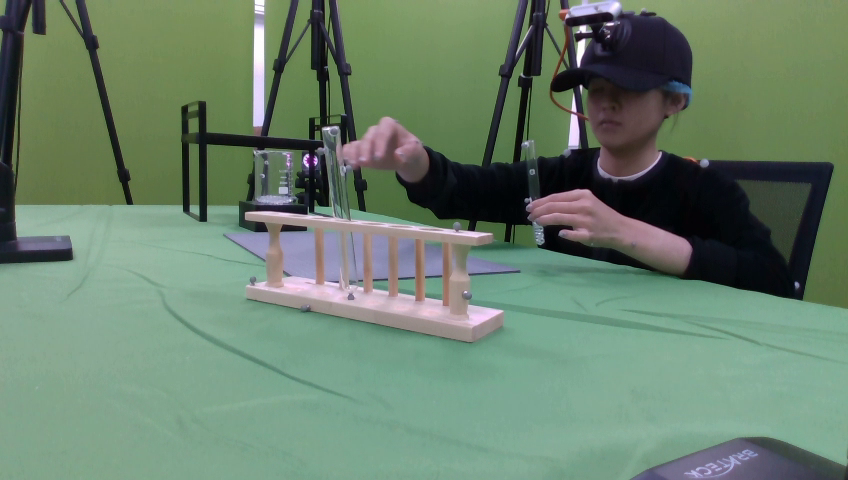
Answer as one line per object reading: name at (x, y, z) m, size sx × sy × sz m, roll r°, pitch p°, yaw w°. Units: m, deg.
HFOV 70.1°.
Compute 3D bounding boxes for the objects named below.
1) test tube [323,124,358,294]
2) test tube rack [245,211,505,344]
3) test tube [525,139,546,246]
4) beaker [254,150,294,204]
test tube at (-0.073, -0.026, 0.533) m, size 0.017 × 0.150 × 0.017 m, roll -5°, pitch 9°, yaw 1°
test tube rack at (-0.049, 0.024, 0.547) m, size 0.241 × 0.085 × 0.067 m, roll 7°, pitch 8°, yaw 29°
test tube at (0.155, -0.065, 0.841) m, size 0.017 × 0.150 × 0.017 m, roll -8°, pitch 10°, yaw 2°
beaker at (-0.289, -0.120, 1.151) m, size 0.073 × 0.100 × 0.084 m, roll 8°, pitch 9°, yaw 33°
